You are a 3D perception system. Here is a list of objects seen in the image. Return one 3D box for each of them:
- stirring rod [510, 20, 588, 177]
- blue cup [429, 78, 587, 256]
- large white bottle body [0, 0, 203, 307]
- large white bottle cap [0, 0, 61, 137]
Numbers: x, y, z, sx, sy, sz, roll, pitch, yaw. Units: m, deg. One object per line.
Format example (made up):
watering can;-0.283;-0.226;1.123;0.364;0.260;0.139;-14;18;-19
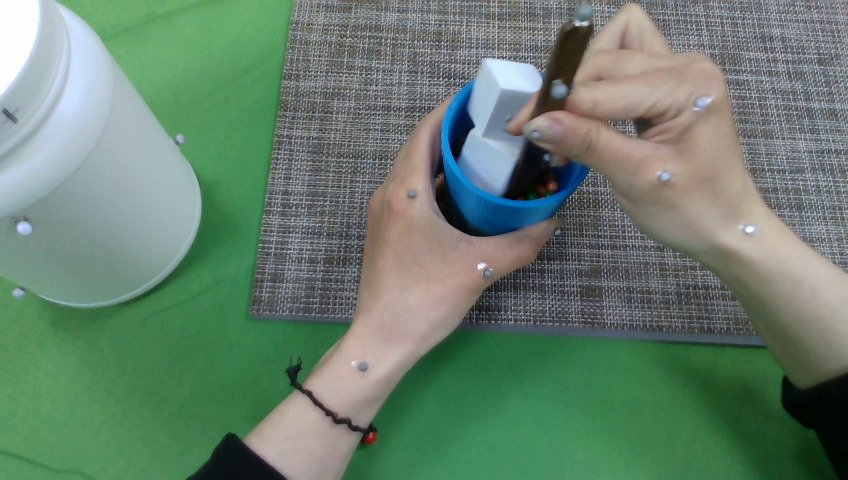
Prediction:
stirring rod;0.055;-0.046;0.309;0.014;0.177;0.005;-21;68;-10
blue cup;0.047;-0.034;0.374;0.092;0.101;0.092;0;69;1
large white bottle body;-0.214;-0.048;0.330;0.131;0.186;0.129;0;69;-1
large white bottle cap;-0.214;-0.079;0.251;0.115;0.018;0.114;0;69;-1
